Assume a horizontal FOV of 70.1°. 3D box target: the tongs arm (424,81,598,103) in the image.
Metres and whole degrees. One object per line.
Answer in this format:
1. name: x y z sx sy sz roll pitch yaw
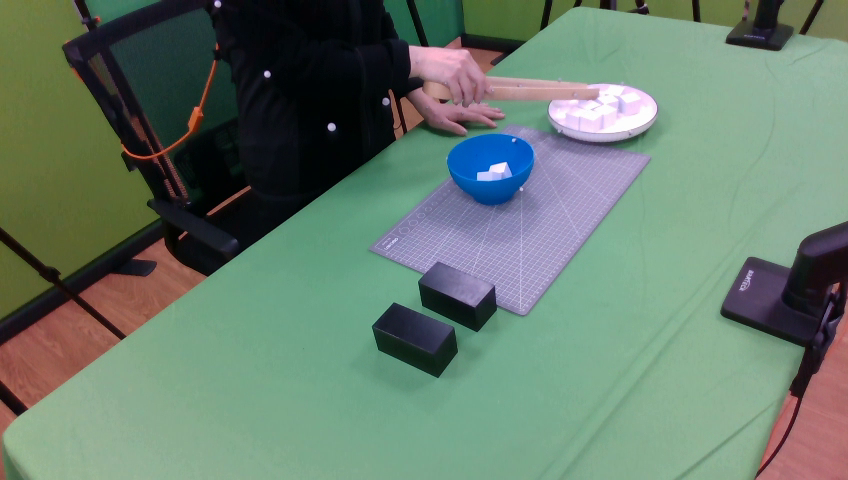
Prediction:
1. tongs arm: 0.177 -0.273 1.127 0.390 0.028 0.028 -6 43 -29

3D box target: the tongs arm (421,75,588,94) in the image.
1. tongs arm: 0.167 -0.286 1.144 0.387 0.026 0.050 -3 38 -25

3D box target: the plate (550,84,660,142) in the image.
1. plate: 0.355 -0.247 1.195 0.207 0.039 0.206 -5 39 5

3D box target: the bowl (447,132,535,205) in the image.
1. bowl: 0.119 -0.115 1.051 0.151 0.077 0.150 -6 40 5
